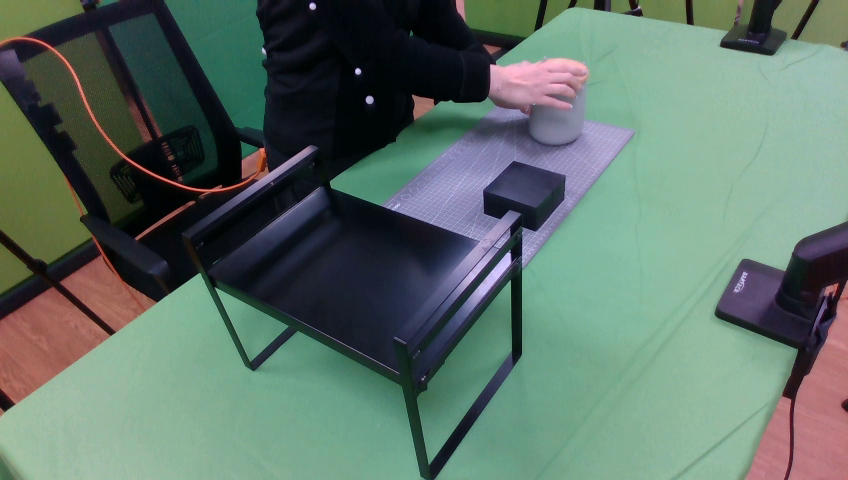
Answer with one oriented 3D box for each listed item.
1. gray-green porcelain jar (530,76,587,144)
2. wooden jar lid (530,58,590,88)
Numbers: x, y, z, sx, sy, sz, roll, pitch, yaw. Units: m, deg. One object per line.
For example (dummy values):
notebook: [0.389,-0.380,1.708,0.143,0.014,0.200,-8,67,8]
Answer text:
gray-green porcelain jar: [0.254,-0.256,1.151,0.106,0.127,0.105,-4,41,4]
wooden jar lid: [0.248,-0.302,1.109,0.108,0.021,0.108,-2,39,2]
